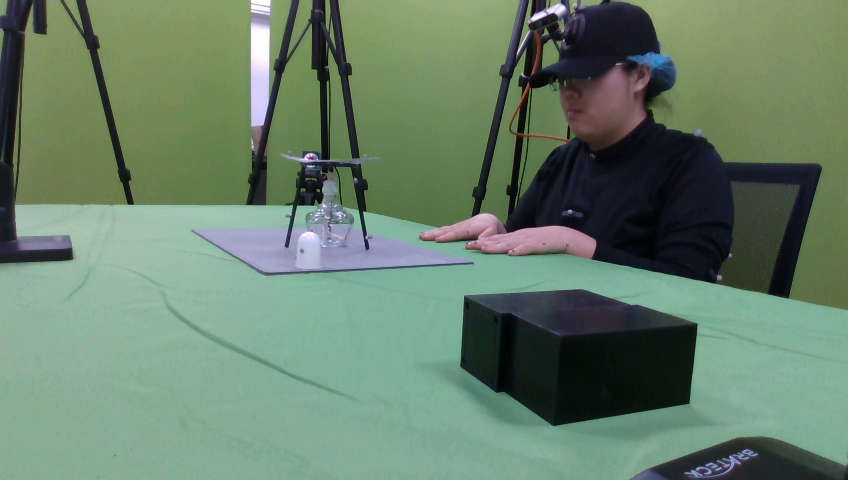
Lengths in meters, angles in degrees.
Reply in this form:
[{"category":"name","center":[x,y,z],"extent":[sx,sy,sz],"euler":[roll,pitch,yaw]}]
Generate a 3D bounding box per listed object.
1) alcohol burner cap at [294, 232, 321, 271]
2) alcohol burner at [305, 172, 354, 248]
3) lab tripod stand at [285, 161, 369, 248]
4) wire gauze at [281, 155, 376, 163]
[{"category":"alcohol burner cap","center":[-0.144,0.013,0.748],"extent":[0.034,0.048,0.034],"euler":[3,6,0]},{"category":"alcohol burner","center":[-0.148,-0.048,0.949],"extent":[0.078,0.119,0.078],"euler":[1,6,0]},{"category":"lab tripod stand","center":[-0.151,-0.058,0.947],"extent":[0.148,0.131,0.148],"euler":[1,6,0]},{"category":"wire gauze","center":[-0.147,-0.124,0.936],"extent":[0.122,0.011,0.124],"euler":[-2,7,-32]}]
